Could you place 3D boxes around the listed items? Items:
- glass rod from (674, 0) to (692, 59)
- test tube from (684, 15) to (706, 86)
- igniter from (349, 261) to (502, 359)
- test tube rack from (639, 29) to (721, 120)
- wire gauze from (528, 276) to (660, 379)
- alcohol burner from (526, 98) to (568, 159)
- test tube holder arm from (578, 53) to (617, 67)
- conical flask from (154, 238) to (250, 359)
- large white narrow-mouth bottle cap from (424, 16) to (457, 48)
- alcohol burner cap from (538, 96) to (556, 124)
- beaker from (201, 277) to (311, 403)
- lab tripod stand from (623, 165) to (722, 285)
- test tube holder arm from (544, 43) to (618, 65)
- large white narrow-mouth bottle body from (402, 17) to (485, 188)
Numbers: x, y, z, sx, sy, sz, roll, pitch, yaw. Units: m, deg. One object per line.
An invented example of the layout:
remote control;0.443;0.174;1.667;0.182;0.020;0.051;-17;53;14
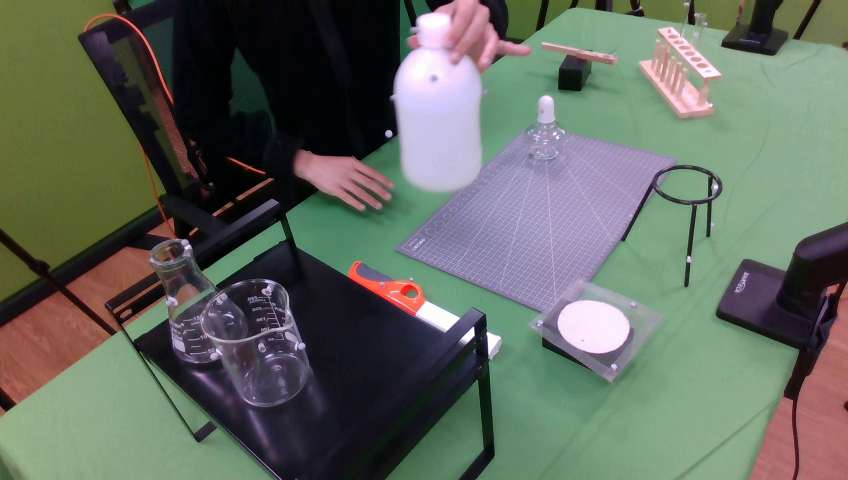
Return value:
glass rod;0.537;-0.437;1.257;0.008;0.200;0.008;0;39;1
test tube;0.541;-0.378;1.216;0.017;0.151;0.017;-2;44;3
igniter;-0.009;0.094;0.870;0.274;0.025;0.057;25;60;33
test tube rack;0.527;-0.351;1.262;0.067;0.085;0.241;-8;40;1
wire gauze;0.214;0.103;0.763;0.124;0.011;0.122;30;52;35
alcohol burner;0.228;-0.210;1.118;0.078;0.119;0.077;-5;43;5
test tube holder arm;0.376;-0.393;1.314;0.087;0.015;0.010;26;51;32
conical flask;-0.225;0.055;0.597;0.075;0.122;0.075;-5;41;4
large white narrow-mouth bottle cap;0.019;-0.229;0.665;0.038;0.024;0.037;-2;41;2
alcohol burner cap;0.222;-0.237;1.095;0.034;0.048;0.033;-7;34;5
beaker;-0.146;0.095;0.555;0.083;0.101;0.074;11;44;20
lab tripod stand;0.365;-0.030;0.874;0.148;0.132;0.147;-6;41;6
test tube holder arm;0.345;-0.413;1.341;0.177;0.015;0.013;25;50;32
large white narrow-mouth bottle body;0.024;-0.165;0.722;0.102;0.195;0.101;-2;41;2
